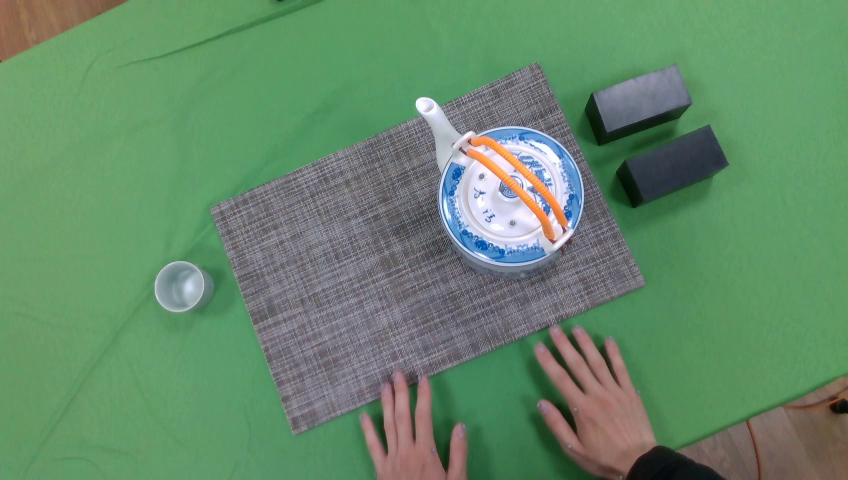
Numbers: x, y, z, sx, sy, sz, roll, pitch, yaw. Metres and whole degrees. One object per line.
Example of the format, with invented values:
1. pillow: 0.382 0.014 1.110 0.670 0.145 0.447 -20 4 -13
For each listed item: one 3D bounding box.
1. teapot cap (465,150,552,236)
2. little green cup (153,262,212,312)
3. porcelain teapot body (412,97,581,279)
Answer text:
1. teapot cap: 0.081 -0.047 0.578 0.085 0.044 0.085 -1 79 5
2. little green cup: -0.292 0.059 0.739 0.061 0.039 0.061 -1 81 6
3. porcelain teapot body: 0.064 -0.060 0.622 0.204 0.226 0.145 44 89 10
